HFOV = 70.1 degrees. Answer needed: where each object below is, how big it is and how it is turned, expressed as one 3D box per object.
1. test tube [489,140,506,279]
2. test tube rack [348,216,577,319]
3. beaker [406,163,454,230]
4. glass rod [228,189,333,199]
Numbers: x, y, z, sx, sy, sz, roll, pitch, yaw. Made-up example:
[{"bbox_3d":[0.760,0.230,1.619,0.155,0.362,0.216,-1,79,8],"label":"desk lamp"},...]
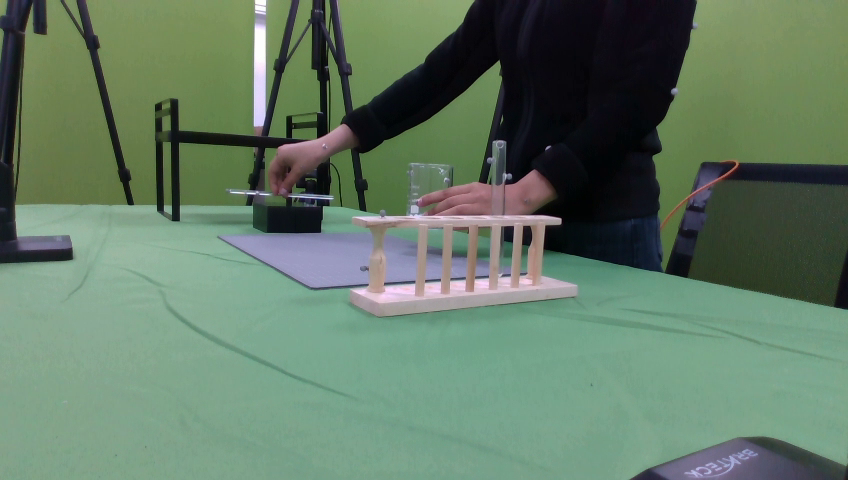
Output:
[{"bbox_3d":[0.079,-0.032,0.653,0.017,0.150,0.017,1,2,0],"label":"test tube"},{"bbox_3d":[0.048,0.021,0.619,0.244,0.085,0.066,-2,9,-31],"label":"test tube rack"},{"bbox_3d":[0.010,-0.068,0.942,0.073,0.100,0.084,7,7,31],"label":"beaker"},{"bbox_3d":[-0.267,-0.086,1.145,0.201,0.008,0.008,2,7,-29],"label":"glass rod"}]
